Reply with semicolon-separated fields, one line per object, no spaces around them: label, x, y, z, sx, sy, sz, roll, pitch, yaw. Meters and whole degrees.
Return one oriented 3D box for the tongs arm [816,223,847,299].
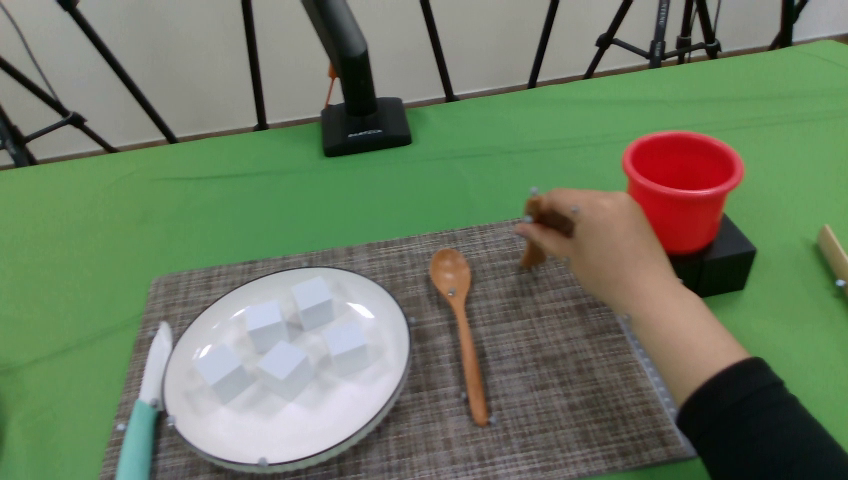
tongs arm;0.383;0.119;0.453;0.028;0.028;0.384;0;42;3

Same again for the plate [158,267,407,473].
plate;-0.117;0.108;0.522;0.207;0.039;0.205;-3;41;3

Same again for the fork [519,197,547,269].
fork;0.092;-0.001;0.516;0.028;0.209;0.018;-12;71;6

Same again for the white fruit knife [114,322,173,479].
white fruit knife;-0.235;0.145;0.514;0.027;0.016;0.205;13;34;-22

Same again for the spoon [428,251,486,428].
spoon;0.032;0.081;0.544;0.042;0.022;0.191;7;39;-14
